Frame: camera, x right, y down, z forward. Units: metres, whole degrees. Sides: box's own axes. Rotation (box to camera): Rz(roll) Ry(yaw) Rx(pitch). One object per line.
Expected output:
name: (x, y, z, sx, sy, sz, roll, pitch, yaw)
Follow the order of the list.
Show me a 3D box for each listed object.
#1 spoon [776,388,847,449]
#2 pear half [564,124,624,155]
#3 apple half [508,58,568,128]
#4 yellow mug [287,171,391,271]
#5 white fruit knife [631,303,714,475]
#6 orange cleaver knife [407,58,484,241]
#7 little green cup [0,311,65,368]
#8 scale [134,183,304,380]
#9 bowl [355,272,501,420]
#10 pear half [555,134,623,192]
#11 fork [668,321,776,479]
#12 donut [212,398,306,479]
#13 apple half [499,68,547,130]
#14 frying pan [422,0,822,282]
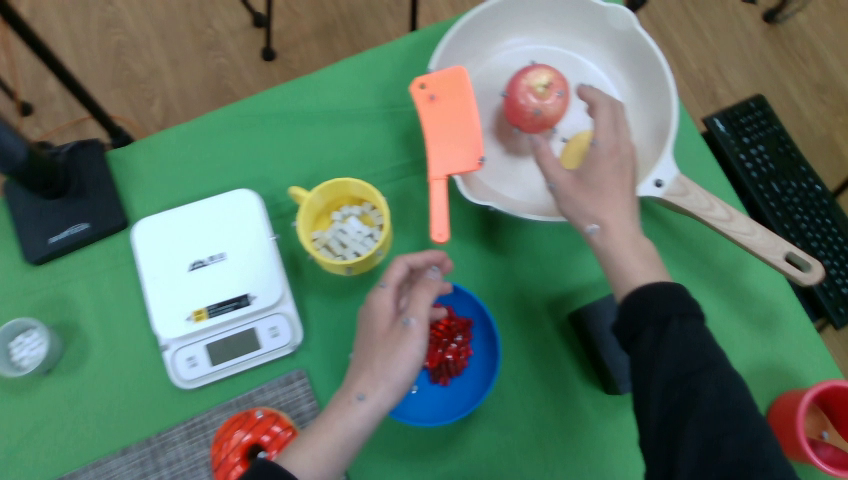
spoon: (0.439, 0.218, 0.606, 0.041, 0.022, 0.191, -29, 35, -8)
pear half: (0.198, -0.118, 0.701, 0.070, 0.088, 0.031, 12, 78, 4)
apple half: (0.141, -0.179, 0.722, 0.053, 0.075, 0.080, -33, 76, -12)
yellow mug: (-0.102, -0.028, 0.690, 0.130, 0.064, 0.100, 33, 79, 7)
white fruit knife: (0.264, 0.161, 0.648, 0.016, 0.027, 0.207, -25, 93, -7)
orange cleaver knife: (0.027, -0.104, 0.673, 0.077, 0.012, 0.210, -5, 78, -2)
little green cup: (-0.429, 0.111, 0.663, 0.061, 0.039, 0.061, 0, 76, -1)
scale: (-0.233, 0.044, 0.687, 0.149, 0.031, 0.200, -19, 79, -5)
bowl: (0.004, 0.115, 0.653, 0.151, 0.077, 0.150, 0, 78, -1)
pear half: (0.188, -0.087, 0.683, 0.076, 0.110, 0.056, 13, 78, 4)
fork: (0.324, 0.178, 0.654, 0.028, 0.018, 0.207, -33, 95, -11)
donut: (-0.173, 0.216, 0.638, 0.099, 0.048, 0.098, 0, 78, 1)
apple half: (0.108, -0.157, 0.715, 0.033, 0.081, 0.081, -30, 79, -14)
frying pan: (0.222, -0.100, 0.695, 0.485, 0.103, 0.306, 37, 80, 15)
